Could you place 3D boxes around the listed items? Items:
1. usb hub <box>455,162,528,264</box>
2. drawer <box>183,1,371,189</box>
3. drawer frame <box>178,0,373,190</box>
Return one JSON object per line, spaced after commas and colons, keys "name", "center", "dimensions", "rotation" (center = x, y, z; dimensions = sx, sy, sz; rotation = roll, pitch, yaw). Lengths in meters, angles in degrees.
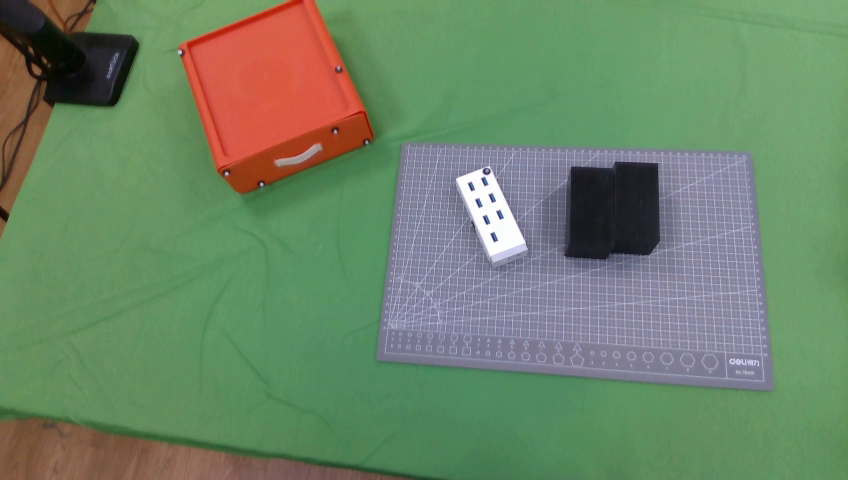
{"name": "usb hub", "center": [0.084, -0.035, 0.760], "dimensions": [0.049, 0.025, 0.124], "rotation": [-21, 70, -3]}
{"name": "drawer", "center": [-0.200, -0.200, 0.821], "dimensions": [0.194, 0.074, 0.210], "rotation": [-23, 69, -2]}
{"name": "drawer frame", "center": [-0.202, -0.203, 0.820], "dimensions": [0.202, 0.083, 0.212], "rotation": [-24, 69, -3]}
